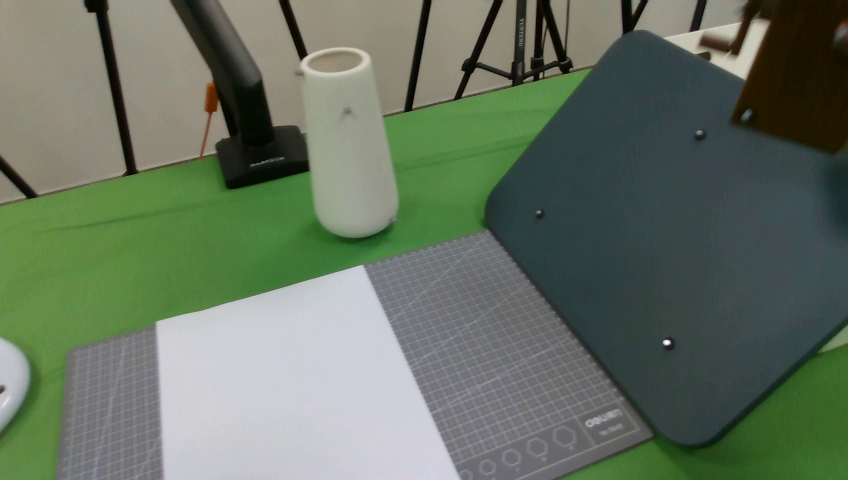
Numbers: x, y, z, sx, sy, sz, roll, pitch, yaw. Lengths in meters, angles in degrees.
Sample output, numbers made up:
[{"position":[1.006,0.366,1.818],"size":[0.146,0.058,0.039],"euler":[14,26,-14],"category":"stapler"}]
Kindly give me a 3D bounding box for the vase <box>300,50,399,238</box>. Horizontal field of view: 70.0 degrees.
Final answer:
[{"position":[-0.083,-0.100,0.663],"size":[0.098,0.202,0.097],"euler":[-3,38,3],"category":"vase"}]

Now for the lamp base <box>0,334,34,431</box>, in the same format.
[{"position":[-0.443,0.079,0.484],"size":[0.177,0.182,0.160],"euler":[22,45,31],"category":"lamp base"}]

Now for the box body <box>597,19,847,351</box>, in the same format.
[{"position":[0.378,-0.080,0.630],"size":[0.254,0.162,0.359],"euler":[-16,40,-14],"category":"box body"}]

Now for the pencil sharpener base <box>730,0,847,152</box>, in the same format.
[{"position":[0.238,-0.118,0.363],"size":[0.076,0.108,0.061],"euler":[23,56,20],"category":"pencil sharpener base"}]

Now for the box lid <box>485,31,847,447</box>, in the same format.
[{"position":[0.214,-0.029,0.555],"size":[0.015,0.263,0.367],"euler":[25,21,-39],"category":"box lid"}]

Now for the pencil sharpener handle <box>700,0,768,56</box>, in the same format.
[{"position":[0.193,-0.144,0.370],"size":[0.030,0.068,0.036],"euler":[23,59,20],"category":"pencil sharpener handle"}]

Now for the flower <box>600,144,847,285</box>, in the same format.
[{"position":[0.349,-0.017,0.667],"size":[0.358,0.038,0.044],"euler":[38,18,32],"category":"flower"}]

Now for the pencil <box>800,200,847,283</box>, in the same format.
[{"position":[0.416,0.015,0.612],"size":[0.012,0.012,0.192],"euler":[3,38,9],"category":"pencil"}]
